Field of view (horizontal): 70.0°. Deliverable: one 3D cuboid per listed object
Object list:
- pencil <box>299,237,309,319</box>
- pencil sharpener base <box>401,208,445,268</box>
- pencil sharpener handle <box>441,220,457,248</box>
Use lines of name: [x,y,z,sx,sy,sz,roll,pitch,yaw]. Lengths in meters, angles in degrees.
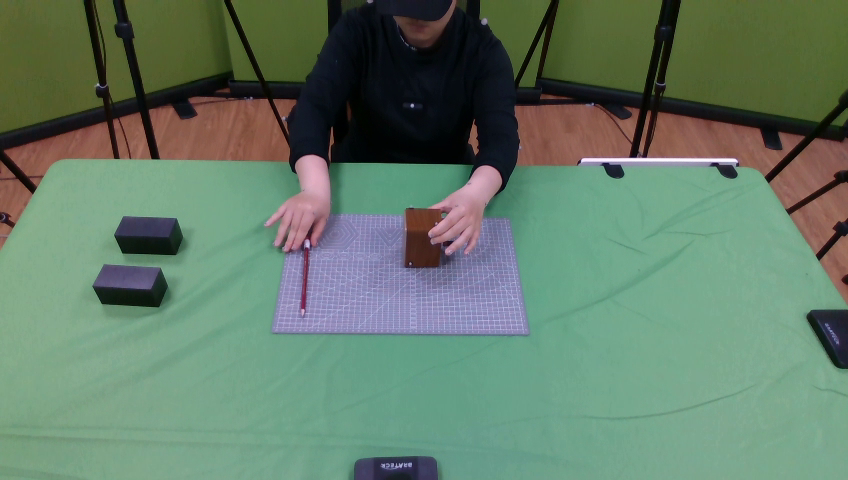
pencil: [-0.223,0.066,1.120,0.012,0.012,0.192,-1,47,-5]
pencil sharpener base: [-0.003,-0.002,1.137,0.077,0.107,0.061,0,45,-5]
pencil sharpener handle: [0.049,-0.011,1.132,0.031,0.068,0.036,0,44,-5]
